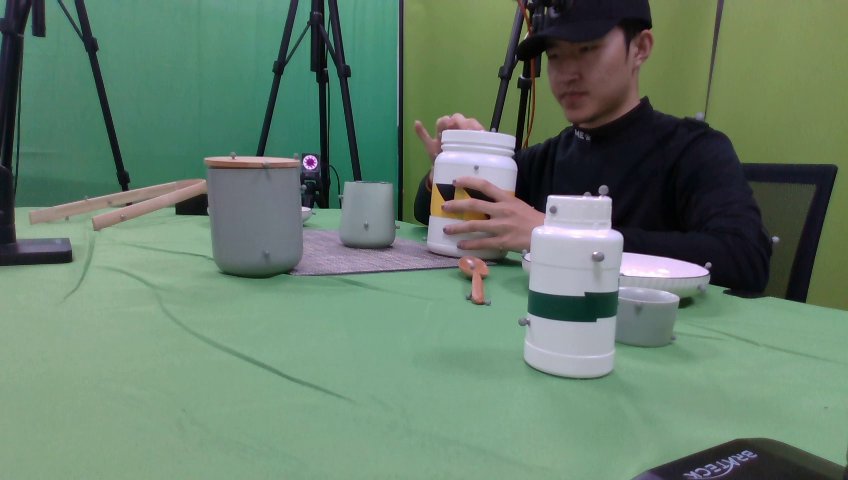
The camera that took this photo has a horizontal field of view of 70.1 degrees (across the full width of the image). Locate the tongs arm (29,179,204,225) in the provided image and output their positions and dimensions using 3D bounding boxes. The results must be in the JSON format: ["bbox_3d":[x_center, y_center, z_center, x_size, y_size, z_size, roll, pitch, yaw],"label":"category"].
[{"bbox_3d":[-0.609,-0.083,1.245,0.050,0.026,0.386,5,16,23],"label":"tongs arm"}]

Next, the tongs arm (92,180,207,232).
[{"bbox_3d":[-0.534,-0.076,1.221,0.028,0.028,0.388,-2,15,12],"label":"tongs arm"}]

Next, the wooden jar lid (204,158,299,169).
[{"bbox_3d":[-0.203,-0.086,0.714,0.108,0.020,0.108,3,11,0],"label":"wooden jar lid"}]

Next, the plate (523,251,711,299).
[{"bbox_3d":[0.219,0.041,0.706,0.209,0.038,0.209,2,7,0],"label":"plate"}]

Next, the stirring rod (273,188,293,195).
[{"bbox_3d":[-0.354,-0.122,1.518,0.006,0.014,0.176,2,7,1],"label":"stirring rod"}]

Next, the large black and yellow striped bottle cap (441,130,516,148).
[{"bbox_3d":[0.084,-0.154,0.926,0.115,0.019,0.115,4,5,0],"label":"large black and yellow striped bottle cap"}]

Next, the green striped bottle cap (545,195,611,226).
[{"bbox_3d":[0.105,-0.020,0.415,0.044,0.020,0.044,2,5,0],"label":"green striped bottle cap"}]

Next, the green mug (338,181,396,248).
[{"bbox_3d":[-0.098,-0.044,0.995,0.093,0.105,0.125,-1,8,-21],"label":"green mug"}]

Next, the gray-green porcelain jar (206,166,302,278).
[{"bbox_3d":[-0.201,-0.024,0.725,0.106,0.126,0.106,-1,9,1],"label":"gray-green porcelain jar"}]

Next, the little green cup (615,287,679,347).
[{"bbox_3d":[0.180,0.064,0.506,0.061,0.038,0.061,1,8,0],"label":"little green cup"}]

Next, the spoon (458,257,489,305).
[{"bbox_3d":[0.059,0.044,0.695,0.041,0.021,0.194,18,7,0],"label":"spoon"}]

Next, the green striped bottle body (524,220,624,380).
[{"bbox_3d":[0.104,0.031,0.422,0.063,0.119,0.063,2,8,0],"label":"green striped bottle body"}]

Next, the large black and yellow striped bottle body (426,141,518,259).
[{"bbox_3d":[0.076,-0.068,0.935,0.131,0.184,0.130,6,5,0],"label":"large black and yellow striped bottle body"}]

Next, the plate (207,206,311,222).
[{"bbox_3d":[-0.342,-0.050,1.259,0.208,0.039,0.207,3,7,0],"label":"plate"}]
